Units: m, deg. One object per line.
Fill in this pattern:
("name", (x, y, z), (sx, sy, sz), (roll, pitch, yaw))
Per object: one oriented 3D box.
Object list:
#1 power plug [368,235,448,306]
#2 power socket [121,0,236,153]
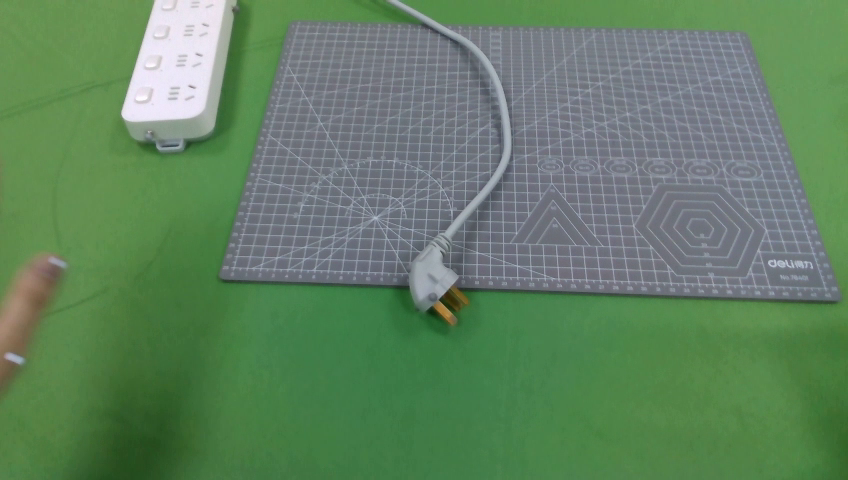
("power plug", (-0.010, 0.014, 0.417), (0.035, 0.073, 0.052), (-35, 21, -9))
("power socket", (-0.222, -0.176, 0.563), (0.072, 0.033, 0.224), (-3, 57, -2))
